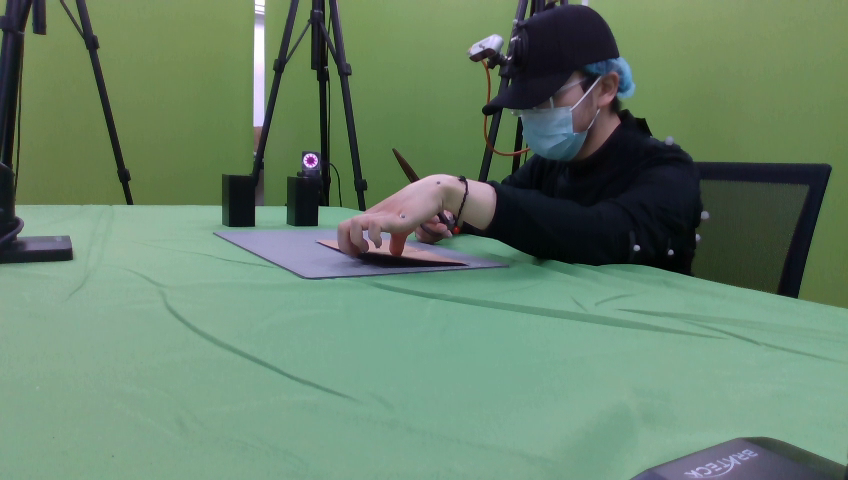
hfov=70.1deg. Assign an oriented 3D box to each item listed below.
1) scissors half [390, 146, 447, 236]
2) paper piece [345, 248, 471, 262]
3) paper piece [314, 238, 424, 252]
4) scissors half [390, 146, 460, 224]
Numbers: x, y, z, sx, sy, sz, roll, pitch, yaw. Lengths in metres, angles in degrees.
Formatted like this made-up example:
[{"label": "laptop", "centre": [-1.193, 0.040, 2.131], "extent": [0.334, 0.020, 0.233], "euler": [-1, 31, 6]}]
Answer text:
[{"label": "scissors half", "centre": [-0.013, -0.079, 1.004], "extent": [0.040, 0.175, 0.012], "euler": [-32, 21, -10]}, {"label": "paper piece", "centre": [-0.025, 0.020, 0.848], "extent": [0.137, 0.008, 0.137], "euler": [3, 1, -28]}, {"label": "paper piece", "centre": [-0.089, 0.006, 0.963], "extent": [0.136, 0.004, 0.135], "euler": [-1, 8, -28]}, {"label": "scissors half", "centre": [0.003, -0.092, 1.007], "extent": [0.176, 0.040, 0.013], "euler": [45, -9, -24]}]
